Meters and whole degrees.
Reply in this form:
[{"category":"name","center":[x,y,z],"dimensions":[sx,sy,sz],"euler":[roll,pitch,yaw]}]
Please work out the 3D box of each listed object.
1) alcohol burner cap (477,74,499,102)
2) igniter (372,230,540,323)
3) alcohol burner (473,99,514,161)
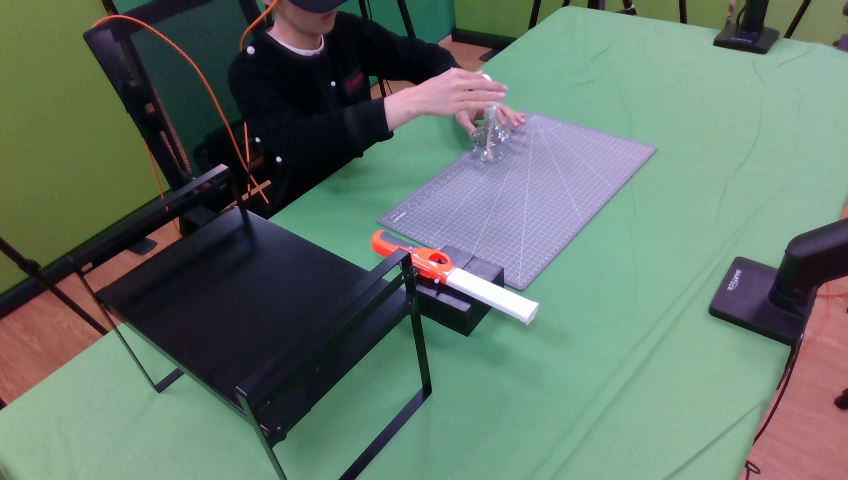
[{"category":"alcohol burner cap","center":[0.108,-0.263,1.035],"dimensions":[0.034,0.048,0.033],"euler":[-8,63,17]},{"category":"igniter","center":[0.032,0.045,0.843],"dimensions":[0.274,0.025,0.057],"euler":[24,47,29]},{"category":"alcohol burner","center":[0.128,-0.208,1.123],"dimensions":[0.078,0.119,0.077],"euler":[-5,39,5]}]
